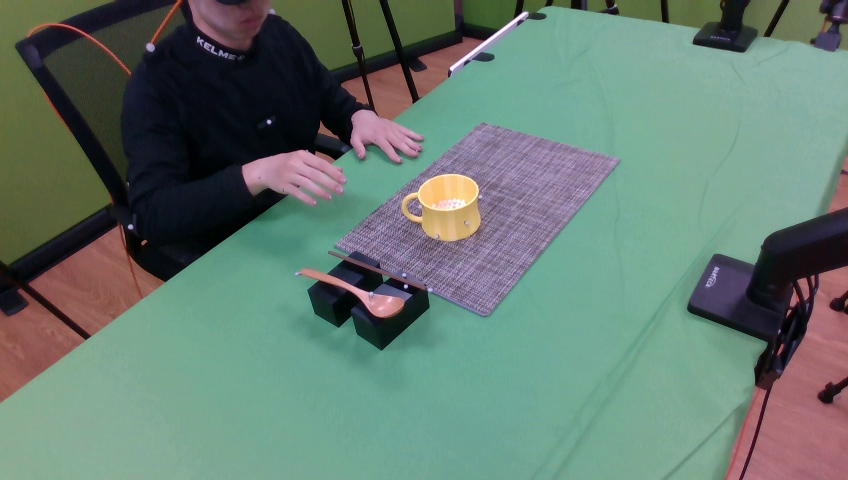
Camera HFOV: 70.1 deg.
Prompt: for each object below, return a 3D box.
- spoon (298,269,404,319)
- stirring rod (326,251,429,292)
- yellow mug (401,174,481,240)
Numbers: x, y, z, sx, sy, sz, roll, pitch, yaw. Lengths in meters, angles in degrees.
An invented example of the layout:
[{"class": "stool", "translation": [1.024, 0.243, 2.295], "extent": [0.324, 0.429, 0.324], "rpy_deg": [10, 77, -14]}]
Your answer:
[{"class": "spoon", "translation": [-0.106, 0.068, 0.831], "extent": [0.192, 0.022, 0.042], "rpy_deg": [21, 49, 32]}, {"class": "stirring rod", "translation": [-0.068, 0.043, 0.858], "extent": [0.175, 0.006, 0.014], "rpy_deg": [18, 9, 27]}, {"class": "yellow mug", "translation": [0.026, -0.054, 0.989], "extent": [0.130, 0.064, 0.099], "rpy_deg": [-1, 41, 8]}]
